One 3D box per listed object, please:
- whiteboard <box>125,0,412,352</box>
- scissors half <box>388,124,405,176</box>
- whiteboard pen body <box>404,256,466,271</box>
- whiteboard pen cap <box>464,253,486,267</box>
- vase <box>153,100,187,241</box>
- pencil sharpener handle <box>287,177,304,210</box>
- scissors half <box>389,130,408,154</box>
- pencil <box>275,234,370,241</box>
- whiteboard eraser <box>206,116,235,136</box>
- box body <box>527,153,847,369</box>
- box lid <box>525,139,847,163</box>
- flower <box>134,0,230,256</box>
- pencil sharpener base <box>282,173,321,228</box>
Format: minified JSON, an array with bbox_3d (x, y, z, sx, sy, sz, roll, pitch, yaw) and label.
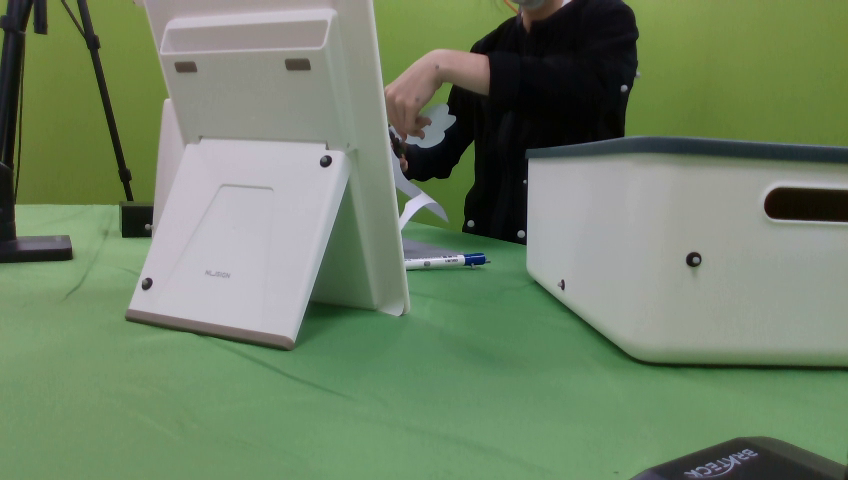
[{"bbox_3d":[-0.151,-0.049,0.472,0.216,0.305,0.144,6,27,24],"label":"whiteboard"},{"bbox_3d":[-0.049,-0.150,1.009,0.013,0.040,0.175,9,-19,9],"label":"scissors half"},{"bbox_3d":[0.012,0.030,0.792,0.141,0.017,0.017,-3,9,-24],"label":"whiteboard pen body"},{"bbox_3d":[0.066,0.027,0.818,0.033,0.018,0.018,-6,10,-24],"label":"whiteboard pen cap"},{"bbox_3d":[-0.278,-0.066,0.736,0.098,0.200,0.098,2,9,0],"label":"vase"},{"bbox_3d":[-0.269,-0.096,1.257,0.036,0.067,0.030,-8,8,-27],"label":"pencil sharpener handle"},{"bbox_3d":[-0.046,-0.171,1.012,0.013,0.040,0.175,4,3,8],"label":"scissors half"},{"bbox_3d":[-0.169,-0.005,1.036,0.195,0.012,0.012,-1,8,-45],"label":"pencil"},{"bbox_3d":[-0.450,-0.252,1.335,0.056,0.042,0.112,1,7,-22],"label":"whiteboard eraser"},{"bbox_3d":[0.257,-0.005,0.591,0.254,0.160,0.363,2,7,-4],"label":"box body"},{"bbox_3d":[0.261,-0.078,0.580,0.264,0.015,0.371,2,7,-4],"label":"box lid"},{"bbox_3d":[-0.282,-0.147,0.713,0.038,0.362,0.044,-23,24,-31],"label":"flower"},{"bbox_3d":[-0.247,-0.080,1.212,0.061,0.107,0.076,-2,5,-28],"label":"pencil sharpener base"}]
